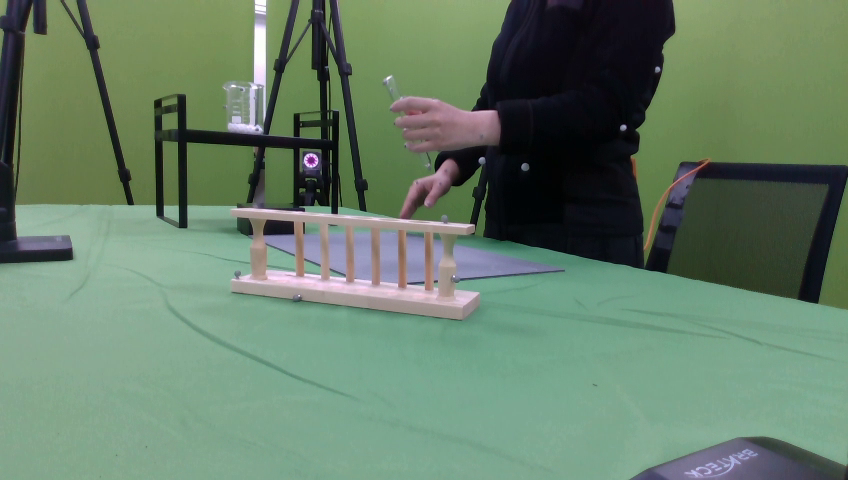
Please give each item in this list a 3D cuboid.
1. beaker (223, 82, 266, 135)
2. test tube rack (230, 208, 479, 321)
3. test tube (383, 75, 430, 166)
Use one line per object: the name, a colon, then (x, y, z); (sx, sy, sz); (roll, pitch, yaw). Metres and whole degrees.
beaker: (-0.362, -0.262, 1.215); (0.084, 0.100, 0.074); (2, 7, -1)
test tube rack: (-0.069, 0.017, 0.598); (0.242, 0.085, 0.067); (5, 8, 18)
test tube: (-0.025, -0.182, 0.934); (0.017, 0.150, 0.017); (-23, 20, 9)
